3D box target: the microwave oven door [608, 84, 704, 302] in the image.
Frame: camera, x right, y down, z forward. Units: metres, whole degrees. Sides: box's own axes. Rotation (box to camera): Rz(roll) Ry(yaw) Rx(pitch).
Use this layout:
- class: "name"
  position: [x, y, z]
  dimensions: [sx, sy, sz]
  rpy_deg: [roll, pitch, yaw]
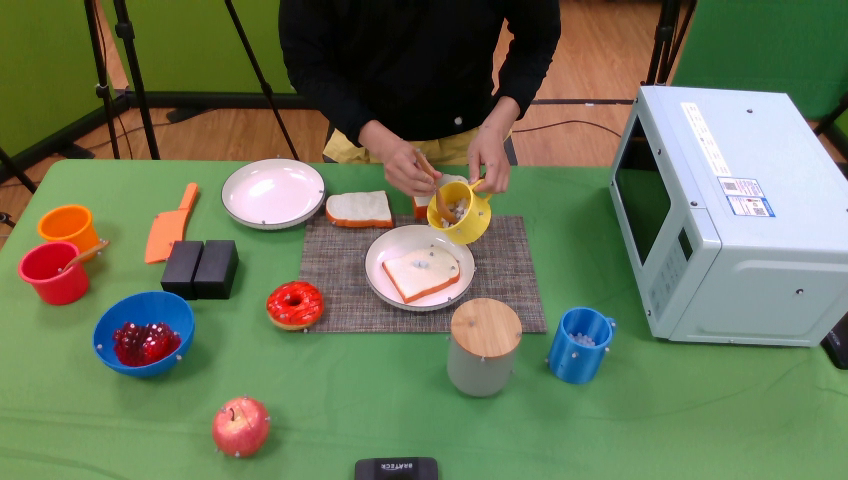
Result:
- class: "microwave oven door"
  position: [0.424, -0.096, 1.138]
  dimensions: [0.039, 0.245, 0.353]
  rpy_deg: [2, 47, -1]

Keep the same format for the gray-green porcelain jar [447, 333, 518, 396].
- class: "gray-green porcelain jar"
  position: [0.091, 0.178, 0.960]
  dimensions: [0.106, 0.127, 0.105]
  rpy_deg: [2, 46, -2]

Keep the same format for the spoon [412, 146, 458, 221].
- class: "spoon"
  position: [0.018, -0.094, 1.047]
  dimensions: [0.021, 0.195, 0.041]
  rpy_deg: [-44, 46, -17]

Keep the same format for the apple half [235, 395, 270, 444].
- class: "apple half"
  position: [-0.245, 0.260, 0.893]
  dimensions: [0.033, 0.082, 0.081]
  rpy_deg: [-29, 55, -22]

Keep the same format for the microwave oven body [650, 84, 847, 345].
- class: "microwave oven body"
  position: [0.569, -0.054, 1.116]
  dimensions: [0.326, 0.261, 0.439]
  rpy_deg: [2, 46, -1]

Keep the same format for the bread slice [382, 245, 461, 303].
- class: "bread slice"
  position: [0.000, 0.055, 1.129]
  dimensions: [0.131, 0.019, 0.104]
  rpy_deg: [-21, 52, -20]

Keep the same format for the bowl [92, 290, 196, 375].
- class: "bowl"
  position: [-0.436, 0.161, 0.971]
  dimensions: [0.151, 0.077, 0.150]
  rpy_deg: [2, 46, -2]

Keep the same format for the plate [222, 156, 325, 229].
- class: "plate"
  position: [-0.308, -0.094, 1.251]
  dimensions: [0.209, 0.038, 0.208]
  rpy_deg: [2, 46, -2]

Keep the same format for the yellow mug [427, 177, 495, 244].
- class: "yellow mug"
  position: [0.075, -0.063, 1.093]
  dimensions: [0.131, 0.064, 0.099]
  rpy_deg: [-45, 45, 10]

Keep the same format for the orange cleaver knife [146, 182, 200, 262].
- class: "orange cleaver knife"
  position: [-0.494, -0.039, 1.198]
  dimensions: [0.077, 0.012, 0.210]
  rpy_deg: [-3, 48, 2]

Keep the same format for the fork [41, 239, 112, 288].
- class: "fork"
  position: [-0.591, 0.040, 1.028]
  dimensions: [0.207, 0.019, 0.028]
  rpy_deg: [-27, 37, 29]

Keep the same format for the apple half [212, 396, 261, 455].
- class: "apple half"
  position: [-0.276, 0.276, 0.877]
  dimensions: [0.053, 0.075, 0.080]
  rpy_deg: [-29, 58, -21]

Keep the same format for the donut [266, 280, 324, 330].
- class: "donut"
  position: [-0.223, 0.113, 1.051]
  dimensions: [0.099, 0.048, 0.098]
  rpy_deg: [2, 45, -2]

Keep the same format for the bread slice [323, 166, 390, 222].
- class: "bread slice"
  position: [-0.140, -0.092, 1.224]
  dimensions: [0.134, 0.018, 0.106]
  rpy_deg: [-19, 51, 6]

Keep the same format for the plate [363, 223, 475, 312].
- class: "plate"
  position: [-0.009, 0.054, 1.126]
  dimensions: [0.208, 0.039, 0.206]
  rpy_deg: [2, 46, -2]

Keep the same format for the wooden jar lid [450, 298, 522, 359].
- class: "wooden jar lid"
  position: [0.093, 0.135, 0.914]
  dimensions: [0.108, 0.021, 0.107]
  rpy_deg: [2, 48, -3]

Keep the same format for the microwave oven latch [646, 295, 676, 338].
- class: "microwave oven latch"
  position: [0.413, 0.133, 1.060]
  dimensions: [0.030, 0.029, 0.078]
  rpy_deg: [4, 46, 1]

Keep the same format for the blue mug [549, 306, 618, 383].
- class: "blue mug"
  position: [0.269, 0.167, 0.997]
  dimensions: [0.116, 0.106, 0.082]
  rpy_deg: [-19, 51, -21]
